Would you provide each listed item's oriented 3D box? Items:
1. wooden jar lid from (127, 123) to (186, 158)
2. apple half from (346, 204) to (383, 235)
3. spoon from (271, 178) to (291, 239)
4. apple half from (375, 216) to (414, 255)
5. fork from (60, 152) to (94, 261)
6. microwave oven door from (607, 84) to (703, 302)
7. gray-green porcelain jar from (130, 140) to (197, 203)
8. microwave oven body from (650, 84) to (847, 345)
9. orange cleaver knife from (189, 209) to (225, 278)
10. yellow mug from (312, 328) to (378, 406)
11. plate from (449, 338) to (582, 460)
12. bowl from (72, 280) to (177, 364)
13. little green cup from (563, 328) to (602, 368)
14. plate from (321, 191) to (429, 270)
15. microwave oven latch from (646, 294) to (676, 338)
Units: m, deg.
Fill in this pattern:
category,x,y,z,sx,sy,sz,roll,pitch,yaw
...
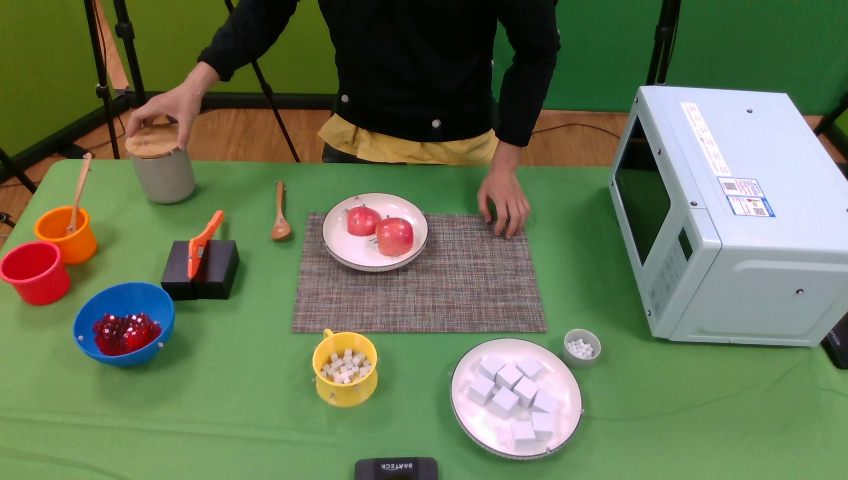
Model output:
category,x,y,z,sx,sy,sz,roll,pitch,yaw
wooden jar lid,-0.518,-0.190,1.179,0.108,0.021,0.107,2,44,-2
apple half,-0.119,-0.049,1.207,0.081,0.033,0.081,2,50,-3
spoon,-0.293,-0.069,1.237,0.041,0.022,0.192,-19,48,6
apple half,-0.056,-0.017,1.169,0.075,0.053,0.080,0,46,-7
fork,-0.638,-0.063,1.119,0.028,0.018,0.207,12,90,8
microwave oven door,0.424,-0.096,1.138,0.039,0.245,0.353,3,46,-1
gray-green porcelain jar,-0.522,-0.148,1.225,0.106,0.127,0.105,2,46,-2
microwave oven body,0.569,-0.054,1.116,0.326,0.261,0.439,2,46,-1
orange cleaver knife,-0.401,0.002,1.122,0.012,0.077,0.210,4,23,-4
yellow mug,-0.132,0.193,0.971,0.100,0.064,0.130,-22,51,-22
plate,0.141,0.251,0.956,0.208,0.039,0.206,2,46,-2
bowl,-0.472,0.147,0.982,0.151,0.077,0.150,2,46,-2
little green cup,0.265,0.184,1.025,0.061,0.039,0.061,2,45,-1
plate,-0.094,-0.015,1.185,0.209,0.038,0.208,2,46,-2
microwave oven latch,0.413,0.133,1.061,0.030,0.029,0.078,4,46,1
